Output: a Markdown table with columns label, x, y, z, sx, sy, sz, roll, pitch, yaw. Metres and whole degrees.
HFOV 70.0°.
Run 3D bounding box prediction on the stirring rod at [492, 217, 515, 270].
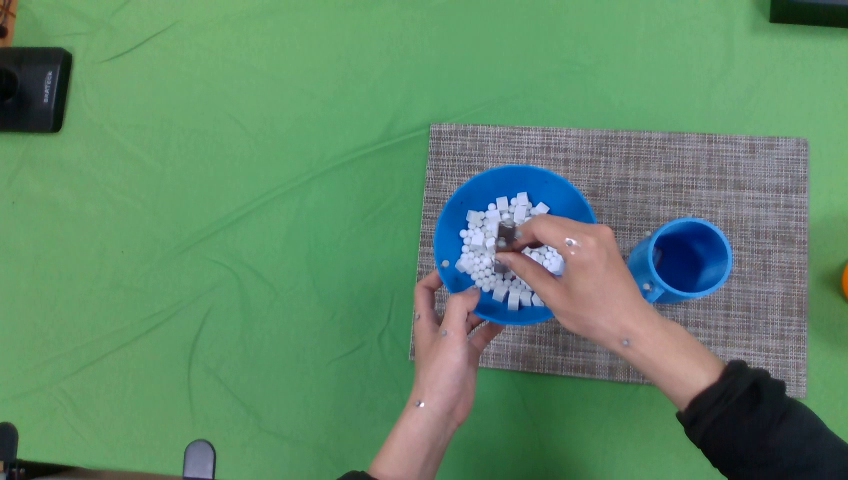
| label | x | y | z | sx | sy | sz | roll | pitch | yaw |
| --- | --- | --- | --- | --- | --- | --- | --- | --- | --- |
| stirring rod | 0.065 | 0.006 | 0.503 | 0.014 | 0.177 | 0.006 | -2 | 76 | 5 |

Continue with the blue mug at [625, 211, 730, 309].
| label | x | y | z | sx | sy | sz | roll | pitch | yaw |
| --- | --- | --- | --- | --- | --- | --- | --- | --- | --- |
| blue mug | 0.261 | 0.031 | 0.661 | 0.082 | 0.106 | 0.116 | 42 | 89 | 11 |

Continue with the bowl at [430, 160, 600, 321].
| label | x | y | z | sx | sy | sz | roll | pitch | yaw |
| --- | --- | --- | --- | --- | --- | --- | --- | --- | --- |
| bowl | 0.087 | 0.007 | 0.579 | 0.151 | 0.077 | 0.150 | -2 | 77 | 9 |
